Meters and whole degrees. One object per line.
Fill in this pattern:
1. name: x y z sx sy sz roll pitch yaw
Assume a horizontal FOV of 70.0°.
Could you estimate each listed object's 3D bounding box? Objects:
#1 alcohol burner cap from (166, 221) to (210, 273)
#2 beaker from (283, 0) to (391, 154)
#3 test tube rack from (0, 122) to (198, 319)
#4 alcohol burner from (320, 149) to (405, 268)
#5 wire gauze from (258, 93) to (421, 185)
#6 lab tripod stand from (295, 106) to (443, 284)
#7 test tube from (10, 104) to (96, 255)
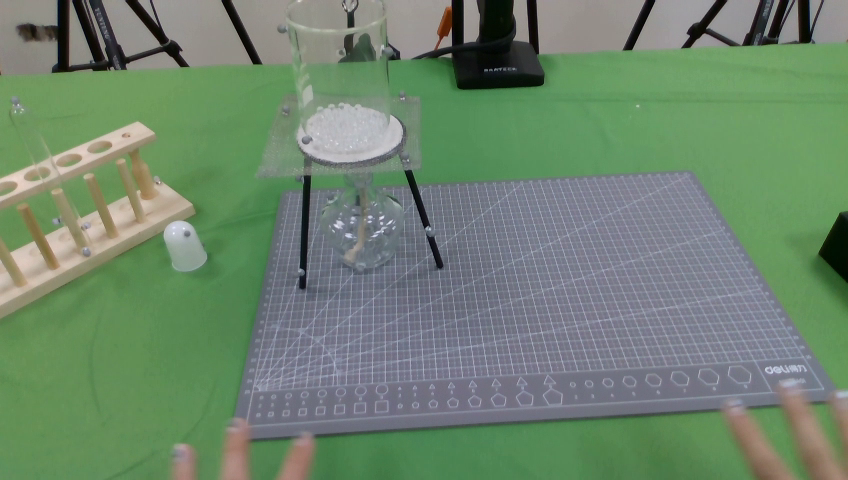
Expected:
1. alcohol burner cap: -0.222 0.003 0.564 0.034 0.048 0.033 0 42 0
2. beaker: -0.061 -0.125 0.458 0.074 0.101 0.083 5 41 4
3. test tube rack: -0.341 -0.013 0.552 0.066 0.086 0.242 31 50 31
4. alcohol burner: -0.056 -0.032 0.541 0.078 0.120 0.077 1 43 0
5. wire gauze: -0.063 -0.087 0.488 0.121 0.011 0.124 -1 44 0
6. lab tripod stand: -0.053 -0.039 0.534 0.148 0.132 0.147 1 40 0
7. test tube: -0.317 -0.047 0.522 0.017 0.151 0.017 0 40 0
